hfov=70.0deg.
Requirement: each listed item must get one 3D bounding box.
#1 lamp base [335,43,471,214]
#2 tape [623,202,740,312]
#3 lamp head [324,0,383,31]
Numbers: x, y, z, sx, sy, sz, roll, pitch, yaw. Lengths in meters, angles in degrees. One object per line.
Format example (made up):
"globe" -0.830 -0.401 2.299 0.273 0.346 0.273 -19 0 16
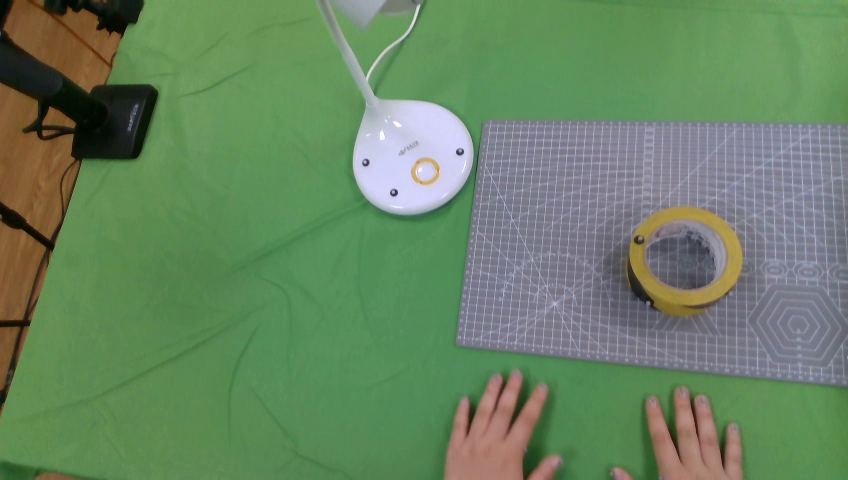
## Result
"lamp base" -0.044 -0.141 0.717 0.160 0.182 0.177 -44 65 -4
"tape" 0.275 0.018 0.656 0.116 0.053 0.116 -4 71 11
"lamp head" -0.061 -0.230 0.432 0.123 0.112 0.112 35 81 -13
